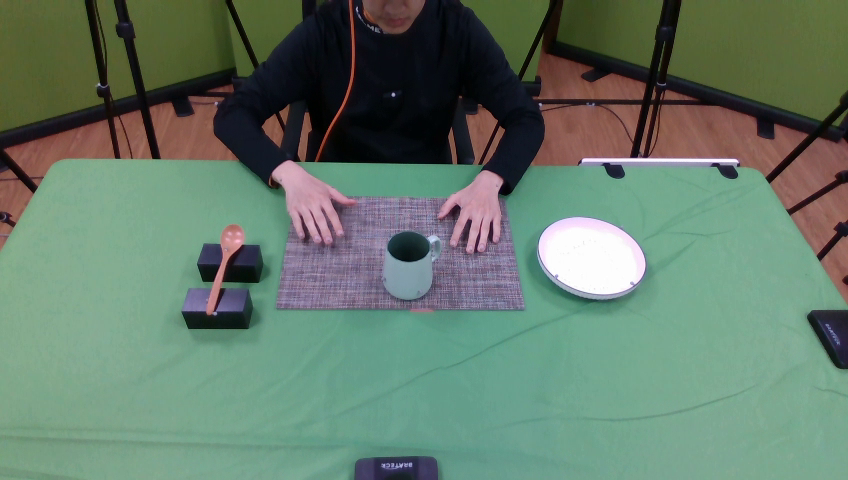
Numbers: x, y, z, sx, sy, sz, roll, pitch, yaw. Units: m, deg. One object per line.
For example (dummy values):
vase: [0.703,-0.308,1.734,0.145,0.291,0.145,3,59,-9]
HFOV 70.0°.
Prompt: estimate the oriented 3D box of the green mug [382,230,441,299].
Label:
green mug: [-0.017,0.037,1.097,0.125,0.105,0.092,-34,57,-31]

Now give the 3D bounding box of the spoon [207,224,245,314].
spoon: [-0.350,0.047,1.056,0.042,0.022,0.192,15,45,-14]

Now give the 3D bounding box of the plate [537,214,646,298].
plate: [0.321,0.035,1.176,0.209,0.038,0.208,2,47,-2]
